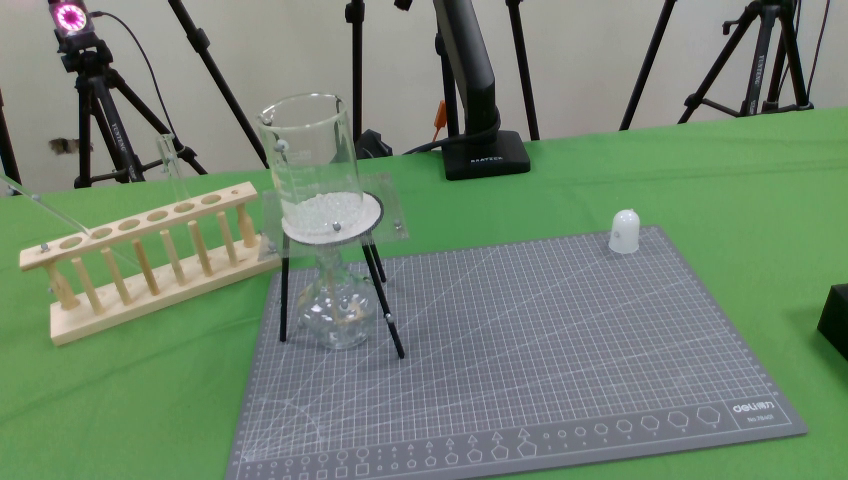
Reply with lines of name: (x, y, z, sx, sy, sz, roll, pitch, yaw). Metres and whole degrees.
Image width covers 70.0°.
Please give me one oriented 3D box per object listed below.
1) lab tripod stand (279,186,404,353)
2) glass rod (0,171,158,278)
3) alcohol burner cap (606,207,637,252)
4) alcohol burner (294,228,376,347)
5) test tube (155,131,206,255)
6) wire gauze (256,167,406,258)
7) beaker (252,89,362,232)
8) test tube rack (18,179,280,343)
lab tripod stand: (-0.078, 0.028, 0.569, 0.148, 0.133, 0.147, -5, 36, 4)
glass rod: (-0.356, -0.014, 0.623, 0.008, 0.202, 0.008, -22, 43, 23)
alcohol burner cap: (0.217, -0.014, 0.665, 0.034, 0.048, 0.033, -4, 35, 3)
alcohol burner: (-0.086, 0.041, 0.569, 0.078, 0.120, 0.077, -5, 33, 3)
test tube: (-0.267, -0.047, 0.669, 0.017, 0.151, 0.017, -4, 32, 3)
wire gauze: (-0.084, -0.025, 0.531, 0.125, 0.011, 0.120, -12, 33, -4)
beaker: (-0.095, -0.064, 0.502, 0.083, 0.101, 0.074, 11, 38, 25)
test tube rack: (-0.293, 0.018, 0.666, 0.243, 0.086, 0.066, -21, 37, -20)
